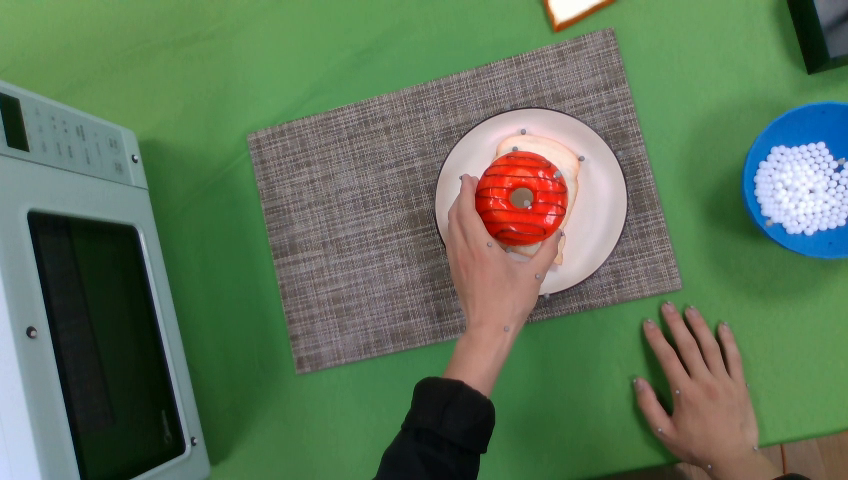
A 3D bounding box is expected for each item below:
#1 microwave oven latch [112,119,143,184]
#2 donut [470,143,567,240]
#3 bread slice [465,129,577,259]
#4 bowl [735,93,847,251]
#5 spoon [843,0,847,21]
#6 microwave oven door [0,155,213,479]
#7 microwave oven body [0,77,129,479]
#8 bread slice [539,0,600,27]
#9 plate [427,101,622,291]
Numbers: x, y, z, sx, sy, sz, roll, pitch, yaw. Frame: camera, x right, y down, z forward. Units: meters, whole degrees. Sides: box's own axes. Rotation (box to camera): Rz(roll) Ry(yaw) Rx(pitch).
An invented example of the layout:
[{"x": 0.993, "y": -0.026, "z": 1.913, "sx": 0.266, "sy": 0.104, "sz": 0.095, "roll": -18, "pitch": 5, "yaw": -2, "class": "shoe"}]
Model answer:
[{"x": -0.369, "y": -0.104, "z": 0.737, "sx": 0.030, "sy": 0.029, "sz": 0.079, "roll": -16, "pitch": 86, "yaw": 8, "class": "microwave oven latch"}, {"x": 0.096, "y": -0.049, "z": 0.616, "sx": 0.099, "sy": 0.048, "sz": 0.099, "roll": -1, "pitch": 88, "yaw": 13, "class": "donut"}, {"x": 0.109, "y": -0.054, "z": 0.668, "sx": 0.107, "sy": 0.018, "sz": 0.134, "roll": 11, "pitch": 89, "yaw": 10, "class": "bread slice"}, {"x": 0.382, "y": -0.062, "z": 0.606, "sx": 0.151, "sy": 0.077, "sz": 0.151, "roll": -1, "pitch": 87, "yaw": 10, "class": "bowl"}, {"x": 0.414, "y": -0.245, "z": 0.549, "sx": 0.021, "sy": 0.195, "sz": 0.041, "roll": -13, "pitch": 83, "yaw": 23, "class": "spoon"}, {"x": -0.332, "y": 0.101, "z": 0.619, "sx": 0.039, "sy": 0.244, "sz": 0.355, "roll": -16, "pitch": 85, "yaw": 9, "class": "microwave oven door"}, {"x": -0.481, "y": 0.100, "z": 0.649, "sx": 0.326, "sy": 0.261, "sz": 0.440, "roll": -16, "pitch": 86, "yaw": 8, "class": "microwave oven body"}, {"x": 0.160, "y": -0.323, "z": 0.686, "sx": 0.105, "sy": 0.019, "sz": 0.131, "roll": -28, "pitch": 85, "yaw": 6, "class": "bread slice"}, {"x": 0.108, "y": -0.047, "z": 0.669, "sx": 0.207, "sy": 0.039, "sz": 0.207, "roll": 0, "pitch": 88, "yaw": 9, "class": "plate"}]
